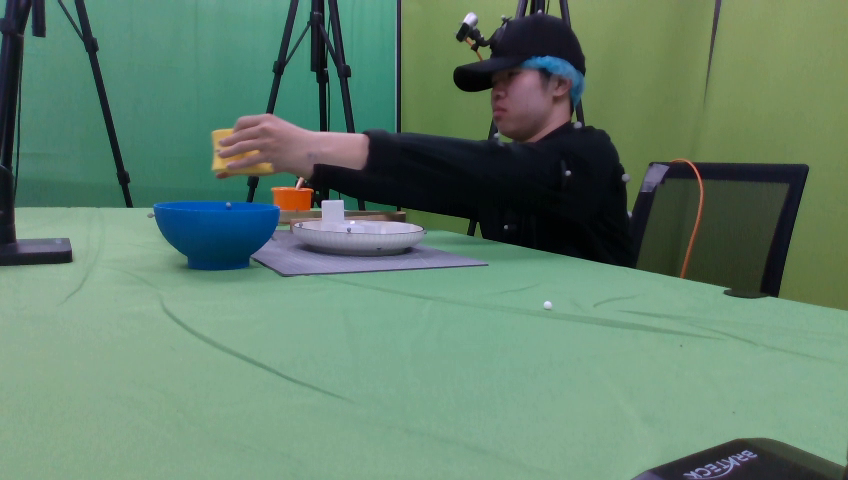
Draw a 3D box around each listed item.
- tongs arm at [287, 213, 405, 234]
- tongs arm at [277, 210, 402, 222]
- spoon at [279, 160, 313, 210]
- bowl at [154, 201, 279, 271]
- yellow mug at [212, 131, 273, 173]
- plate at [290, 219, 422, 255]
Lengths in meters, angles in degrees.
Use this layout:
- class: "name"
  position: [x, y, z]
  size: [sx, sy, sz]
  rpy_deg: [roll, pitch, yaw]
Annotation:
- class: "tongs arm"
  position: [-0.147, -0.037, 1.281]
  size: [0.028, 0.028, 0.389]
  rpy_deg: [5, 7, 33]
- class: "tongs arm"
  position: [-0.207, -0.051, 1.333]
  size: [0.387, 0.026, 0.050]
  rpy_deg: [-2, 10, -44]
- class: "spoon"
  position: [-0.286, -0.118, 1.372]
  size: [0.041, 0.193, 0.022]
  rpy_deg: [5, -37, 15]
- class: "bowl"
  position: [-0.263, -0.005, 0.773]
  size: [0.151, 0.077, 0.151]
  rpy_deg: [3, 8, 0]
- class: "yellow mug"
  position: [-0.311, -0.151, 1.035]
  size: [0.100, 0.064, 0.130]
  rpy_deg: [-2, 4, -16]
- class: "plate"
  position: [-0.108, -0.005, 0.963]
  size: [0.208, 0.039, 0.207]
  rpy_deg: [3, 7, 0]
